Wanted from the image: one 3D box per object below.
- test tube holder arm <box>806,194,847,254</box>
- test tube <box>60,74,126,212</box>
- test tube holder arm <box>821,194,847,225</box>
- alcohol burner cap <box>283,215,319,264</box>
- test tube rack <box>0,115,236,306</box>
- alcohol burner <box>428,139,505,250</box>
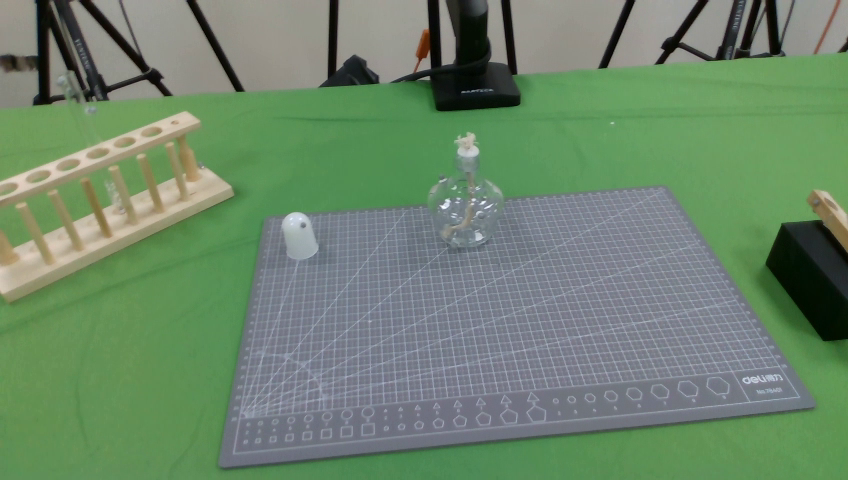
[{"bbox_3d":[0.367,-0.010,0.537,0.010,0.015,0.087,-2,41,-1],"label":"test tube holder arm"},{"bbox_3d":[-0.330,-0.094,0.613,0.017,0.151,0.017,-3,36,2],"label":"test tube"},{"bbox_3d":[0.375,0.018,0.504,0.013,0.015,0.176,-4,41,-3],"label":"test tube holder arm"},{"bbox_3d":[-0.124,-0.003,0.604,0.034,0.048,0.033,-1,40,1],"label":"alcohol burner cap"},{"bbox_3d":[-0.327,-0.039,0.625,0.242,0.086,0.066,-32,48,-31],"label":"test tube rack"},{"bbox_3d":[0.042,-0.049,0.594,0.078,0.120,0.077,0,41,1],"label":"alcohol burner"}]
